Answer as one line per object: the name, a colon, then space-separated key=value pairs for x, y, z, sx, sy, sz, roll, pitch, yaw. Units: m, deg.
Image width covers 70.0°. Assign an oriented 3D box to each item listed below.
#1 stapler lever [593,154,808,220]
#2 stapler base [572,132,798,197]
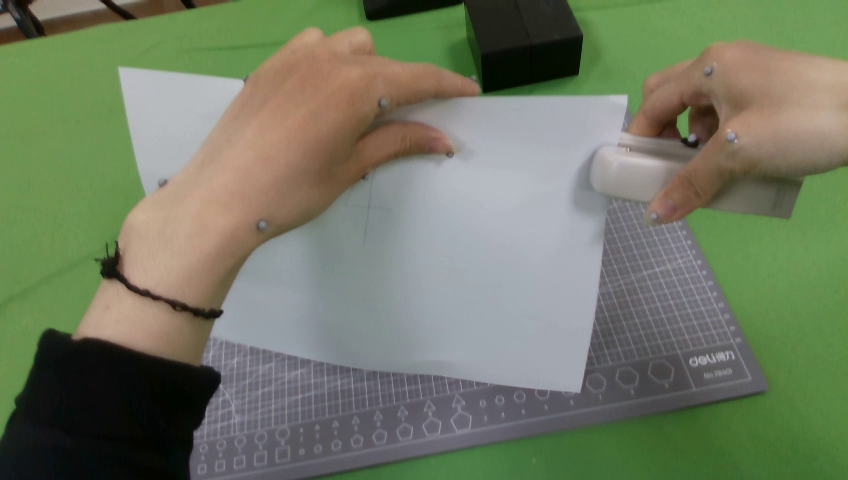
stapler lever: x=0.156 y=-0.029 z=0.343 sx=0.118 sy=0.027 sz=0.040 roll=8 pitch=27 yaw=5
stapler base: x=0.157 y=-0.036 z=0.361 sx=0.130 sy=0.041 sz=0.024 roll=5 pitch=27 yaw=0
